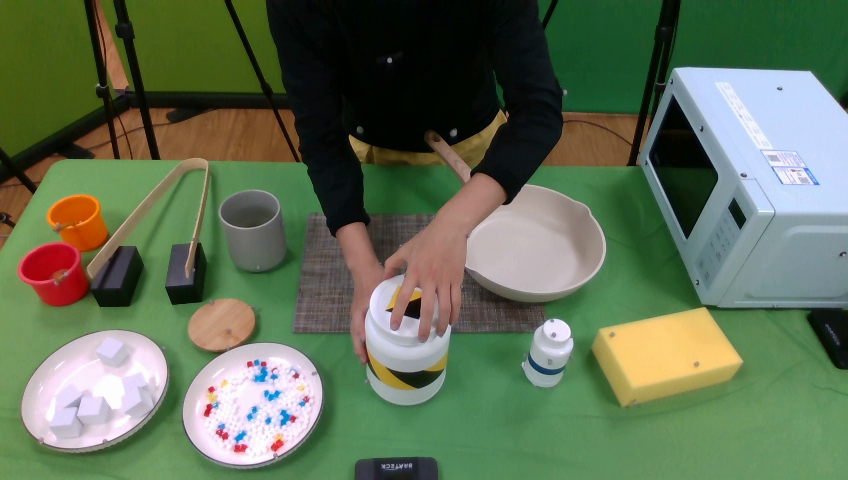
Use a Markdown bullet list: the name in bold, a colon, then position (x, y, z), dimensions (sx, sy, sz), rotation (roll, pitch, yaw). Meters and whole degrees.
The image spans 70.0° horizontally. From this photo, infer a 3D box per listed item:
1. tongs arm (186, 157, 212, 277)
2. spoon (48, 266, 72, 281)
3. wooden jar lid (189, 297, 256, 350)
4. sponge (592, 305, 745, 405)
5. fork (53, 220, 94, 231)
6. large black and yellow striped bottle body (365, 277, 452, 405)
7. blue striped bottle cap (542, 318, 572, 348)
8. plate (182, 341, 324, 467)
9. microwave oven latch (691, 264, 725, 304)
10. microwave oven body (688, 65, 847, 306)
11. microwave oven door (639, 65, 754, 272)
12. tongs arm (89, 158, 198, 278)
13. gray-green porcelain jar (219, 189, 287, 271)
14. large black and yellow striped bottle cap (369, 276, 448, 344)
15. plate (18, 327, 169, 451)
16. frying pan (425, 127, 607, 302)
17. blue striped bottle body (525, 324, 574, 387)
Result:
- **tongs arm**: position (-0.445, -0.058, 1.168), dimensions (0.051, 0.026, 0.382), rotation (-5, 37, -6)
- **spoon**: position (-0.609, 0.057, 1.010), dimensions (0.041, 0.022, 0.193), rotation (-32, 13, -27)
- **wooden jar lid**: position (-0.342, 0.145, 1.033), dimensions (0.108, 0.021, 0.107), rotation (3, 45, -2)
- **sponge**: position (0.405, 0.190, 1.015), dimensions (0.207, 0.061, 0.117), rotation (-10, 48, -12)
- **fork**: position (-0.627, -0.027, 1.086), dimensions (0.028, 0.018, 0.207), rotation (-1, 2, -15)
- **large black and yellow striped bottle body**: position (-0.026, 0.155, 0.933), dimensions (0.131, 0.185, 0.130), rotation (2, 46, -2)
- **blue striped bottle cap**: position (0.205, 0.143, 0.933), dimensions (0.044, 0.021, 0.044), rotation (0, 47, 0)
- **plate**: position (-0.257, 0.250, 0.927), dimensions (0.209, 0.038, 0.208), rotation (3, 46, -2)
- **microwave oven latch**: position (0.521, 0.081, 1.116), dimensions (0.030, 0.029, 0.078), rotation (0, 46, -3)
- **microwave oven body**: position (0.669, -0.111, 1.176), dimensions (0.326, 0.261, 0.439), rotation (0, 46, -3)
- **microwave oven door**: position (0.522, -0.147, 1.192), dimensions (0.039, 0.245, 0.353), rotation (0, 47, -3)
- **tongs arm**: position (-0.530, -0.057, 1.164), dimensions (0.028, 0.028, 0.385), rotation (1, 36, 8)
- **gray-green porcelain jar**: position (-0.309, -0.014, 1.113), dimensions (0.106, 0.127, 0.105), rotation (2, 46, -2)
- **large black and yellow striped bottle cap**: position (-0.023, 0.098, 0.872), dimensions (0.115, 0.019, 0.114), rotation (2, 45, -2)
- **plate**: position (-0.498, 0.229, 0.929), dimensions (0.208, 0.039, 0.206), rotation (3, 46, -2)
- **frying pan**: position (0.143, -0.069, 1.208), dimensions (0.307, 0.103, 0.485), rotation (-23, 60, -24)
- **blue striped bottle body**: position (0.202, 0.179, 0.970), dimensions (0.063, 0.121, 0.062), rotation (2, 46, -2)
